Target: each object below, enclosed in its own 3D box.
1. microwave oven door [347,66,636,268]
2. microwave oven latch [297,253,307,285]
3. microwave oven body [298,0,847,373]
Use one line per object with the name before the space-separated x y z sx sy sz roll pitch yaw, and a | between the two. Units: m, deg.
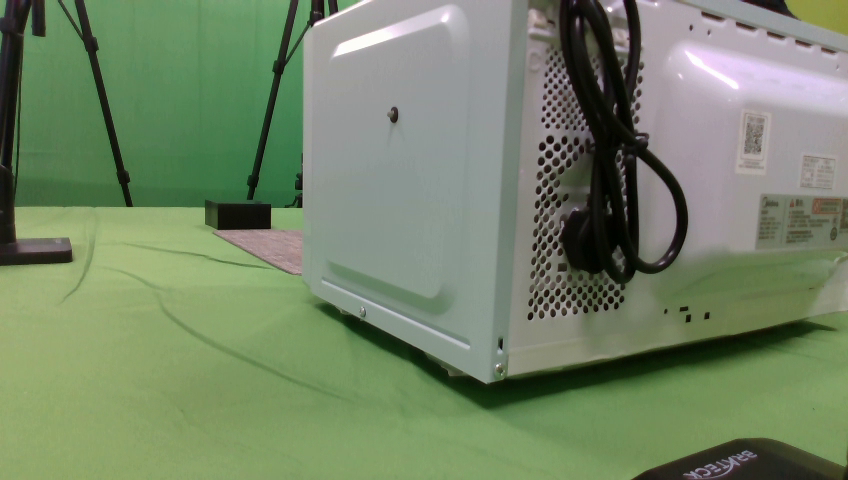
microwave oven door | 0.084 -0.092 0.775 0.356 0.243 0.039 2 8 -1
microwave oven latch | -0.081 0.027 0.582 0.079 0.029 0.030 -1 7 -32
microwave oven body | 0.151 -0.055 0.543 0.444 0.260 0.324 -2 7 -33
